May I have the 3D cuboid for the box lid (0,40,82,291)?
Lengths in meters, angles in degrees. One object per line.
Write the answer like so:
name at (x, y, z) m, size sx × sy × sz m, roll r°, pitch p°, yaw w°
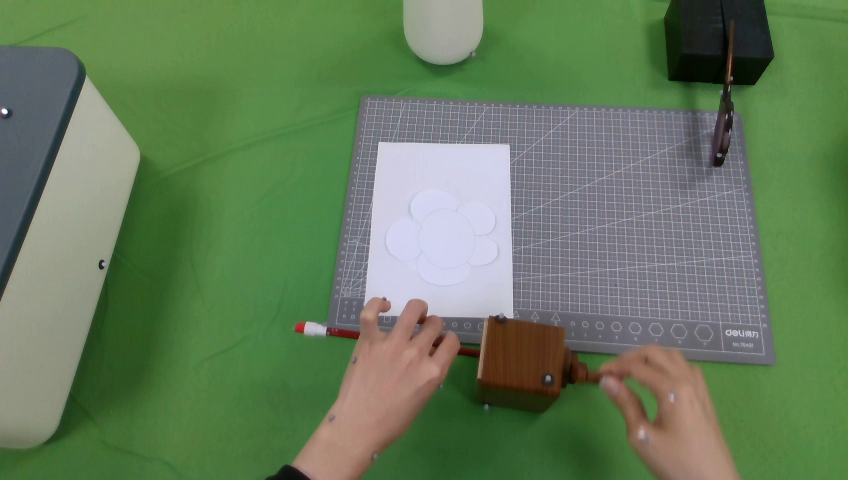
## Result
box lid at (-0.467, -0.028, 0.518) m, size 0.263 × 0.015 × 0.368 m, roll 4°, pitch 67°, yaw 3°

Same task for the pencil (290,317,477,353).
pencil at (-0.023, 0.086, 0.536) m, size 0.194 × 0.012 × 0.012 m, roll 8°, pitch 67°, yaw 3°

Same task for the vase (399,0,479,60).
vase at (0.015, -0.297, 0.678) m, size 0.098 × 0.201 × 0.097 m, roll -1°, pitch 66°, yaw 3°

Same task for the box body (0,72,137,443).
box body at (-0.464, 0.004, 0.587) m, size 0.254 × 0.161 × 0.361 m, roll 3°, pitch 67°, yaw 3°

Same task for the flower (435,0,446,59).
flower at (0.006, -0.343, 0.607) m, size 0.044 × 0.365 × 0.038 m, roll -3°, pitch 49°, yaw 5°

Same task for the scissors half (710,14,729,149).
scissors half at (0.328, -0.178, 0.662) m, size 0.013 × 0.040 × 0.174 m, roll 8°, pitch 68°, yaw 15°

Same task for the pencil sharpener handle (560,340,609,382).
pencil sharpener handle at (0.133, 0.105, 0.509) m, size 0.030 × 0.068 × 0.036 m, roll 8°, pitch 82°, yaw 5°

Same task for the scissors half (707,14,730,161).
scissors half at (0.334, -0.173, 0.681) m, size 0.012 × 0.040 × 0.175 m, roll 7°, pitch 85°, yaw 20°

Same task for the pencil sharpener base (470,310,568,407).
pencil sharpener base at (0.085, 0.111, 0.554) m, size 0.076 × 0.108 × 0.061 m, roll 8°, pitch 67°, yaw 5°
